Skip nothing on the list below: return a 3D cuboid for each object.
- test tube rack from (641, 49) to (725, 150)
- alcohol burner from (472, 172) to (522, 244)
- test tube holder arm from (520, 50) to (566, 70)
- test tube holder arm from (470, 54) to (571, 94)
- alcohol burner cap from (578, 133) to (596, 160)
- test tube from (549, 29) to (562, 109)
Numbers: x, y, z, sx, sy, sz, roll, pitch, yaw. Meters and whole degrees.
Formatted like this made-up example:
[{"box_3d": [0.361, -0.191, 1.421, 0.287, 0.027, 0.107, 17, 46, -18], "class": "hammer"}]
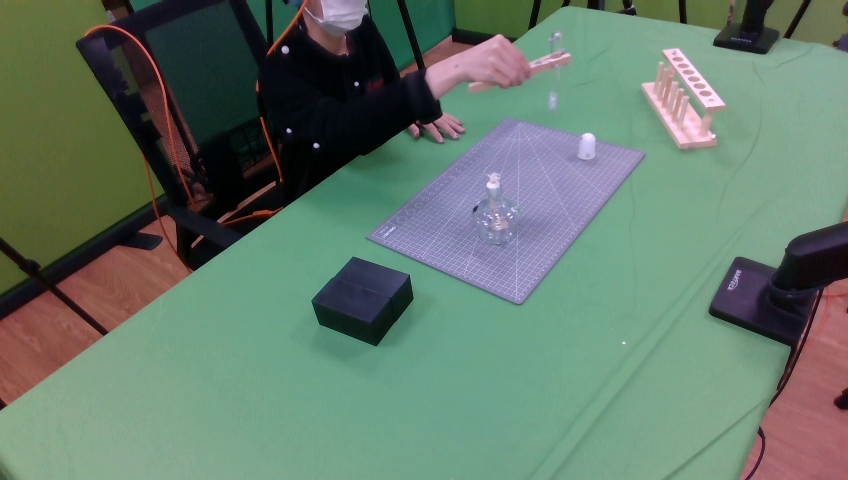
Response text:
[{"box_3d": [0.495, -0.279, 1.175, 0.067, 0.085, 0.241, -5, 41, 3], "class": "test tube rack"}, {"box_3d": [0.112, -0.053, 0.942, 0.078, 0.119, 0.077, -6, 40, 6], "class": "alcohol burner"}, {"box_3d": [0.196, -0.292, 0.997, 0.088, 0.015, 0.010, -26, 47, -16], "class": "test tube holder arm"}, {"box_3d": [0.158, -0.271, 0.983, 0.179, 0.015, 0.013, -21, 45, -12], "class": "test tube holder arm"}, {"box_3d": [0.301, -0.174, 1.111, 0.034, 0.048, 0.033, -4, 41, 4], "class": "alcohol burner cap"}, {"box_3d": [0.221, -0.283, 1.016, 0.017, 0.151, 0.017, -4, 48, 5], "class": "test tube"}]
